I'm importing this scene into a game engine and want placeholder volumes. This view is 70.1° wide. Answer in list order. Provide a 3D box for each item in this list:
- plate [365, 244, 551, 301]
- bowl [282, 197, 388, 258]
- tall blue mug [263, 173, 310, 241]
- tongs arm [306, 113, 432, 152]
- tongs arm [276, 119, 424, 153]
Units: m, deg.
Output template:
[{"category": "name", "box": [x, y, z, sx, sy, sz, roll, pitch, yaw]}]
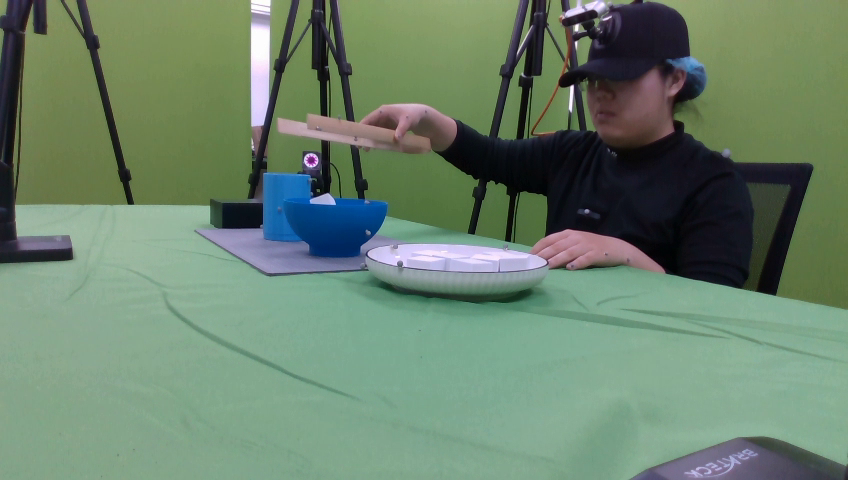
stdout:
[{"category": "plate", "box": [0.038, 0.035, 0.685, 0.209, 0.038, 0.209, 2, 7, 0]}, {"category": "bowl", "box": [-0.128, -0.018, 0.869, 0.151, 0.077, 0.151, 2, 7, 0]}, {"category": "tall blue mug", "box": [-0.233, -0.058, 1.019, 0.078, 0.108, 0.107, -1, 8, -19]}, {"category": "tongs arm", "box": [-0.093, -0.197, 1.135, 0.050, 0.026, 0.387, -5, -1, 36]}, {"category": "tongs arm", "box": [-0.126, -0.195, 1.157, 0.028, 0.027, 0.390, -9, -3, 37]}]
